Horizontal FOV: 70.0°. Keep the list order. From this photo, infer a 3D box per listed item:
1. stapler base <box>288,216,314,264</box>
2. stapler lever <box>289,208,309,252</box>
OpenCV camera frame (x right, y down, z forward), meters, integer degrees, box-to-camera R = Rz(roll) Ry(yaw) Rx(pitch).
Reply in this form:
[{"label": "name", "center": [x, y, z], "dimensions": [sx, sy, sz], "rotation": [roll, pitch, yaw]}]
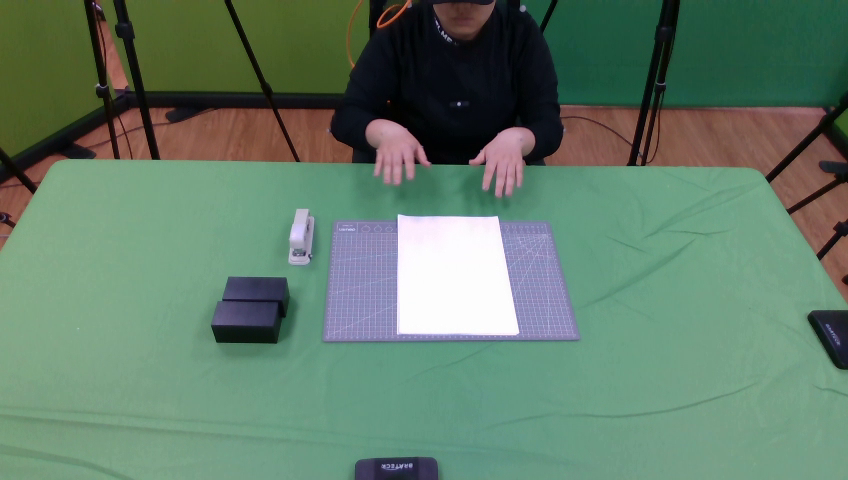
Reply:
[{"label": "stapler base", "center": [-0.241, -0.007, 1.184], "dimensions": [0.041, 0.024, 0.129], "rotation": [1, 44, -6]}, {"label": "stapler lever", "center": [-0.240, -0.026, 1.168], "dimensions": [0.027, 0.040, 0.117], "rotation": [1, 44, -6]}]
